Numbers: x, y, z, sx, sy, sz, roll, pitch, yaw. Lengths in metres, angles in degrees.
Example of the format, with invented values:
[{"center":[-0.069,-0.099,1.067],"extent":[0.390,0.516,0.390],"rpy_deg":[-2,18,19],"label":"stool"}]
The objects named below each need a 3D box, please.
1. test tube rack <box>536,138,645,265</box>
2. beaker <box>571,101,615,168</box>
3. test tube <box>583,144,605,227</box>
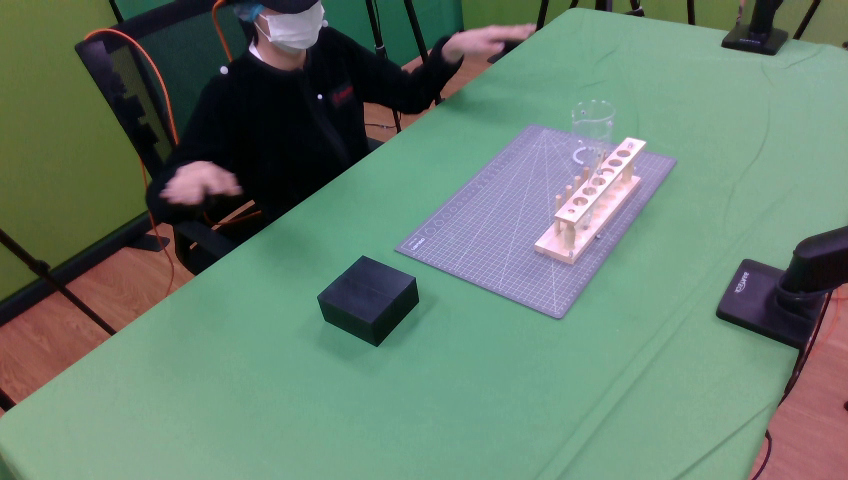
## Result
[{"center":[0.268,-0.071,0.964],"extent":[0.066,0.085,0.243],"rpy_deg":[23,49,32],"label":"test tube rack"},{"center":[0.299,-0.186,1.086],"extent":[0.084,0.101,0.073],"rpy_deg":[-27,43,-21],"label":"beaker"},{"center":[0.251,-0.077,0.896],"extent":[0.017,0.151,0.017],"rpy_deg":[-3,43,3],"label":"test tube"}]
